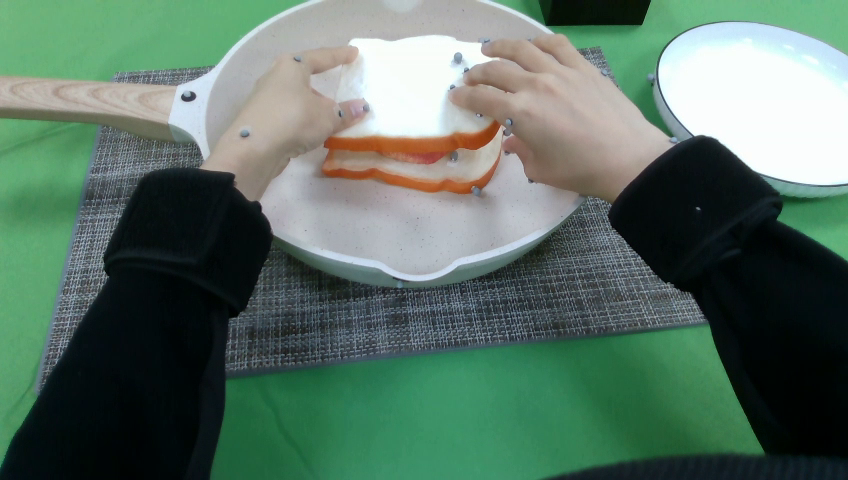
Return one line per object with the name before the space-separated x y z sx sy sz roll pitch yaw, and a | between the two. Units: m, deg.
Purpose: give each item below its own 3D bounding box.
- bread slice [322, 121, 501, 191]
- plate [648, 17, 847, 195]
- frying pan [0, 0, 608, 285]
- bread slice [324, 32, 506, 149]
bread slice | -0.005 -0.085 0.490 0.134 0.018 0.106 6 57 2
plate | 0.295 -0.115 0.525 0.208 0.039 0.205 2 55 -2
frying pan | -0.117 -0.092 0.441 0.489 0.103 0.303 4 53 -10
bread slice | -0.004 -0.116 0.455 0.131 0.019 0.104 2 63 7
